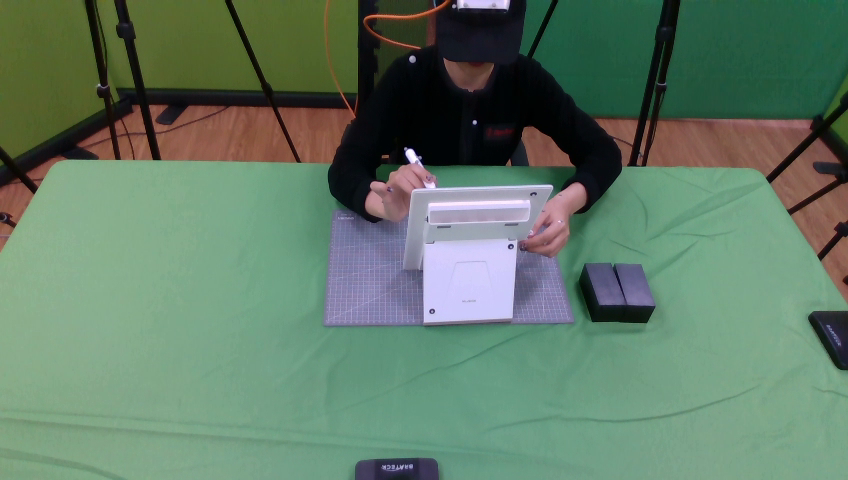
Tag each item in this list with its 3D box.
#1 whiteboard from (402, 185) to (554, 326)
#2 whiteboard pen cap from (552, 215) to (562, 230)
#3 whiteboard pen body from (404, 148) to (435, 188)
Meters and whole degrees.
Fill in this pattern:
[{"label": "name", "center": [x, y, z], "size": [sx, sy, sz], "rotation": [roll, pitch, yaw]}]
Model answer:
[{"label": "whiteboard", "center": [0.081, 0.044, 1.005], "size": [0.217, 0.306, 0.143], "rotation": [-1, 66, -6]}, {"label": "whiteboard pen cap", "center": [0.276, -0.037, 1.260], "size": [0.018, 0.018, 0.033], "rotation": [2, 43, -1]}, {"label": "whiteboard pen body", "center": [-0.005, -0.112, 1.001], "size": [0.017, 0.017, 0.140], "rotation": [-13, 43, -15]}]
